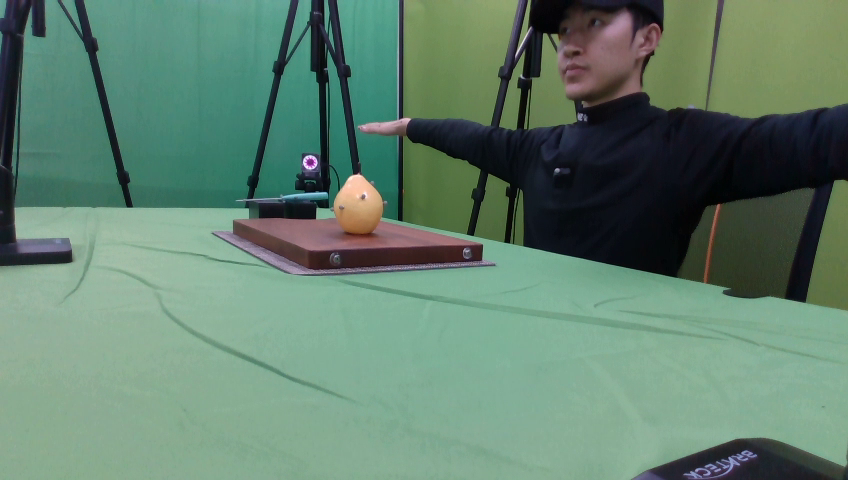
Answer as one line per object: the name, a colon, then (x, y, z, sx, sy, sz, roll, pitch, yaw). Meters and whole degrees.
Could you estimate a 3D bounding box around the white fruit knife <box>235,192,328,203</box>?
white fruit knife: (-0.297, -0.088, 1.283, 0.208, 0.016, 0.027, -7, 0, -32)

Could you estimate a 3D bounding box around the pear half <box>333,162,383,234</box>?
pear half: (-0.098, -0.063, 0.918, 0.076, 0.110, 0.055, -4, 10, -20)

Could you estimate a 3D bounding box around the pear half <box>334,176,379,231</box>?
pear half: (-0.109, -0.058, 0.953, 0.071, 0.088, 0.031, -7, 12, -21)
